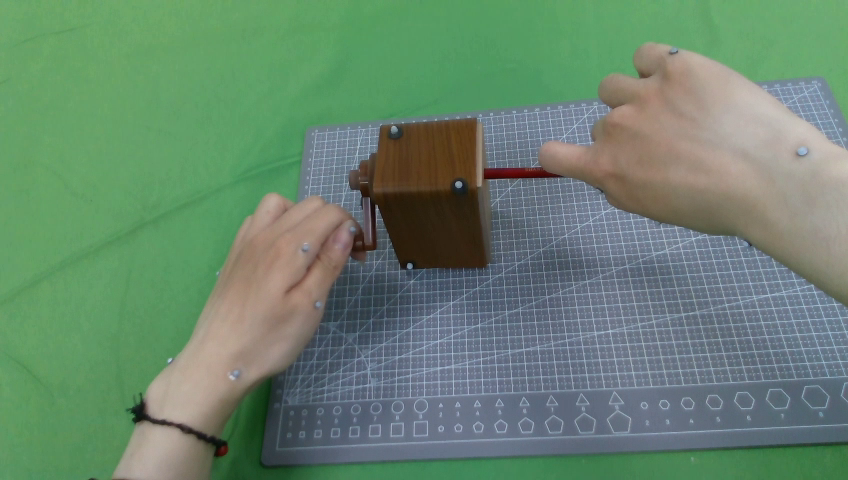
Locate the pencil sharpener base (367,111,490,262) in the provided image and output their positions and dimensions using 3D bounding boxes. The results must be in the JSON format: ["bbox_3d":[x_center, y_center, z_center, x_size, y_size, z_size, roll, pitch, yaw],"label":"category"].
[{"bbox_3d":[0.007,-0.033,0.432,0.076,0.108,0.061,-2,59,9],"label":"pencil sharpener base"}]

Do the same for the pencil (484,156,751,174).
[{"bbox_3d":[0.113,-0.048,0.396,0.194,0.012,0.012,0,59,6],"label":"pencil"}]

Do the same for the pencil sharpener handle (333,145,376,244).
[{"bbox_3d":[-0.047,-0.030,0.416,0.030,0.036,0.067,-2,91,9],"label":"pencil sharpener handle"}]
